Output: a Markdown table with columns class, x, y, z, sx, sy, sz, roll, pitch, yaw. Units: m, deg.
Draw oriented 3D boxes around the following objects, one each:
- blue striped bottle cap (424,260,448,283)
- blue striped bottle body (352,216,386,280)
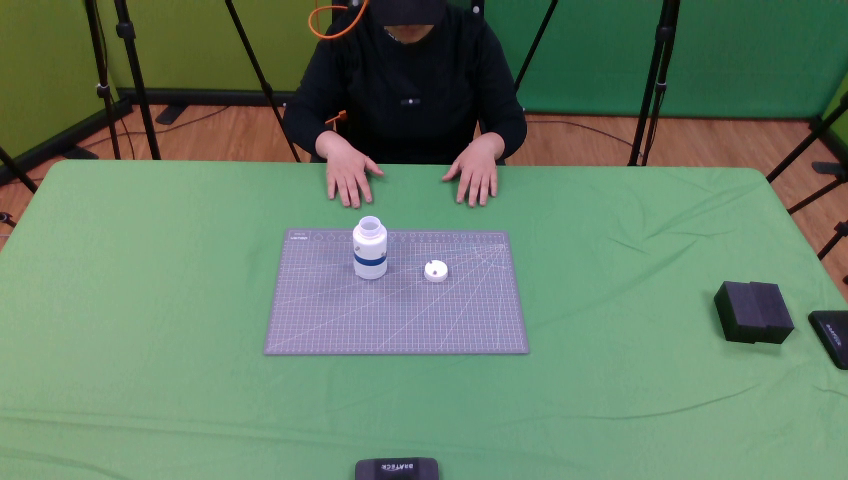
| class | x | y | z | sx | sy | sz | roll | pitch | yaw |
| --- | --- | --- | --- | --- | --- | --- | --- | --- | --- |
| blue striped bottle cap | 0.022 | 0.059 | 1.145 | 0.044 | 0.021 | 0.044 | 2 | 47 | -1 |
| blue striped bottle body | -0.100 | 0.012 | 1.107 | 0.063 | 0.121 | 0.062 | 2 | 46 | -2 |
